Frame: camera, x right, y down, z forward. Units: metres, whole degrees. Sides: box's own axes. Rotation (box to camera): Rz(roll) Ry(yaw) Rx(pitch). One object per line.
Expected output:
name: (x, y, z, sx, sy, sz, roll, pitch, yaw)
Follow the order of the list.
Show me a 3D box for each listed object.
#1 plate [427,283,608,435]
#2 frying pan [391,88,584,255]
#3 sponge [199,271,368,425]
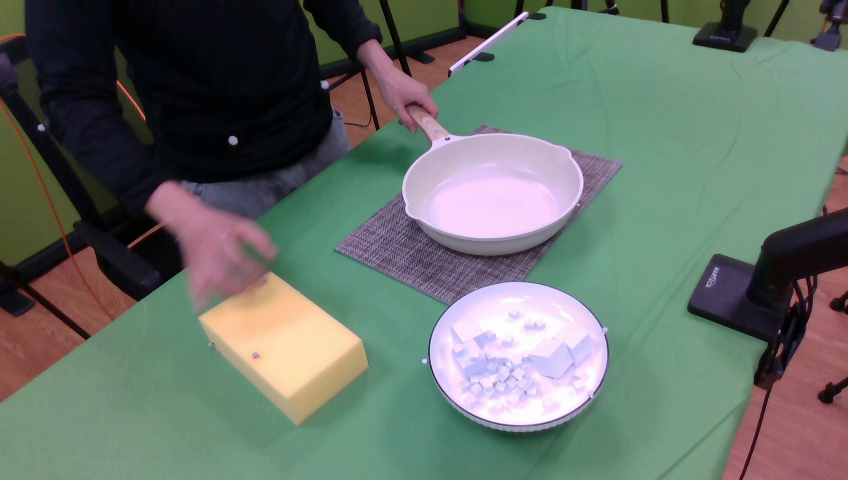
plate: (0.108, 0.137, 0.708, 0.207, 0.039, 0.206, -4, 42, 4)
frying pan: (0.063, -0.143, 1.056, 0.308, 0.103, 0.483, -22, 51, -18)
sponge: (-0.189, 0.136, 0.807, 0.205, 0.061, 0.118, 29, 52, 35)
